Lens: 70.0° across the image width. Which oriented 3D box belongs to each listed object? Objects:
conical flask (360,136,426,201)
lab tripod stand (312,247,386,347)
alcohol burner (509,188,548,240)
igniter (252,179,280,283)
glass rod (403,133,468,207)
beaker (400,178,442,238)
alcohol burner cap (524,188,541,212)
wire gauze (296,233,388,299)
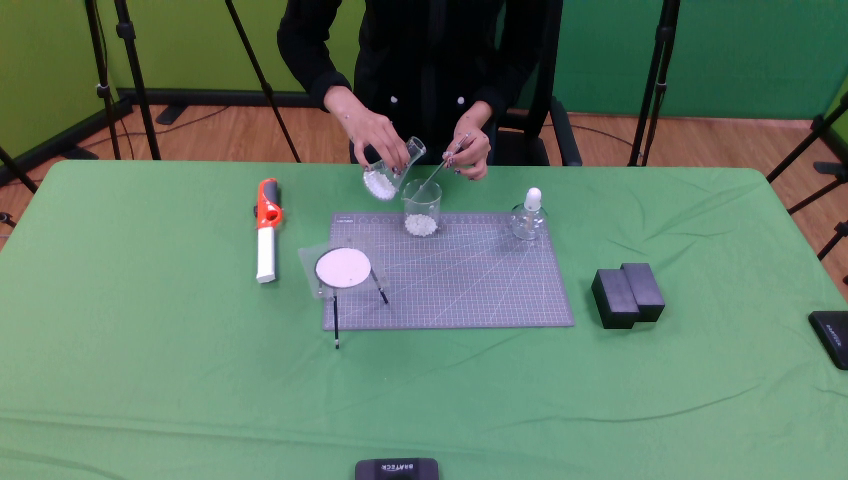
[{"bbox_3d":[-0.051,-0.133,1.081,0.075,0.122,0.075,38,27,-23],"label":"conical flask"},{"bbox_3d":[-0.134,0.085,1.028,0.148,0.132,0.147,2,45,-1],"label":"lab tripod stand"},{"bbox_3d":[0.211,-0.057,1.204,0.078,0.120,0.077,1,47,-1],"label":"alcohol burner"},{"bbox_3d":[-0.312,-0.027,1.197,0.057,0.025,0.274,-12,47,-2],"label":"igniter"},{"bbox_3d":[0.019,-0.129,1.137,0.008,0.200,0.008,30,34,-22],"label":"glass rod"},{"bbox_3d":[-0.009,-0.059,1.200,0.084,0.101,0.073,-15,48,-17],"label":"beaker"},{"bbox_3d":[0.212,-0.081,1.177,0.034,0.048,0.033,-2,54,2],"label":"alcohol burner cap"},{"bbox_3d":[-0.133,0.041,0.977,0.125,0.011,0.120,-12,47,-16],"label":"wire gauze"}]
